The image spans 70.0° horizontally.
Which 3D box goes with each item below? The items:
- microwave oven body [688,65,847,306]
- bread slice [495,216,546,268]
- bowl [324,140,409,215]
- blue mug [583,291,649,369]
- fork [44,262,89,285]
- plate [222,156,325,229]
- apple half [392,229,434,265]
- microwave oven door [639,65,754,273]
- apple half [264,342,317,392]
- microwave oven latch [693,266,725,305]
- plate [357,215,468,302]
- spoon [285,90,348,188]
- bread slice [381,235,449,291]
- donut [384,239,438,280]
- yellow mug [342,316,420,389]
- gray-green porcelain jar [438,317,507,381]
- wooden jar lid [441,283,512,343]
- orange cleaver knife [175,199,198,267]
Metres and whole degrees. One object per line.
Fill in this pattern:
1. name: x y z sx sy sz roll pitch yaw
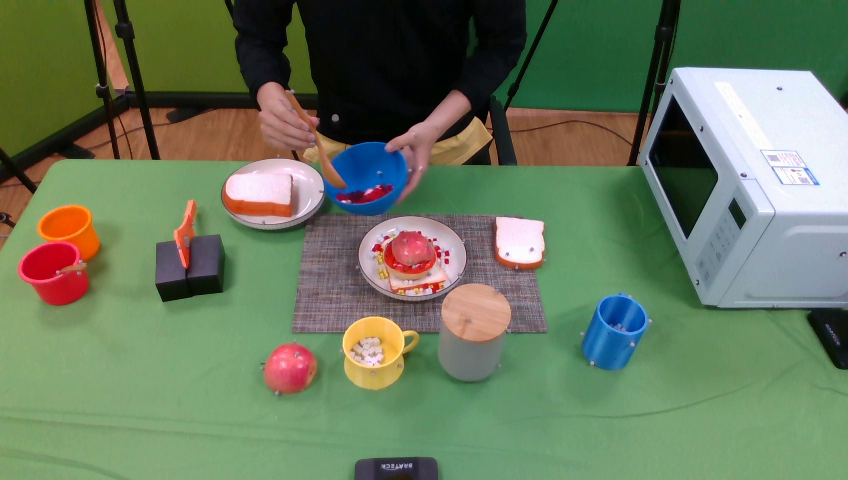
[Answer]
1. microwave oven body: 0.669 -0.111 1.176 0.326 0.261 0.439 0 46 -3
2. bread slice: 0.194 0.002 1.205 0.105 0.019 0.131 5 45 2
3. bowl: -0.093 -0.097 1.075 0.151 0.077 0.150 -6 53 9
4. blue mug: 0.324 0.142 1.023 0.082 0.106 0.116 15 47 11
5. fork: -0.598 0.054 1.014 0.207 0.019 0.028 -15 28 45
6. plate: -0.308 -0.095 1.251 0.209 0.038 0.208 3 46 -2
7. apple half: -0.020 0.005 1.083 0.081 0.033 0.081 7 48 -7
8. microwave oven door: 0.522 -0.147 1.192 0.039 0.245 0.353 0 47 -3
9. apple half: -0.214 0.198 0.970 0.074 0.053 0.080 19 48 10
10. microwave oven latch: 0.523 0.082 1.115 0.030 0.029 0.078 3 46 0
11. plate: -0.022 0.037 1.141 0.208 0.039 0.206 2 46 -2
12. spoon: -0.172 -0.157 0.968 0.041 0.195 0.021 12 48 40
13. bread slice: -0.027 0.039 1.139 0.107 0.018 0.133 -12 46 -16
14. donut: -0.025 0.030 1.110 0.099 0.048 0.098 3 46 -2
15. yellow mug: -0.067 0.178 0.991 0.131 0.064 0.099 -16 49 -19
16. gray-green porcelain jar: 0.076 0.158 0.977 0.106 0.127 0.105 2 47 -2
17. wooden jar lid: 0.080 0.114 0.931 0.108 0.021 0.107 1 49 0
18. orange cleaver knife: -0.438 -0.017 1.138 0.012 0.077 0.210 -14 27 -7
